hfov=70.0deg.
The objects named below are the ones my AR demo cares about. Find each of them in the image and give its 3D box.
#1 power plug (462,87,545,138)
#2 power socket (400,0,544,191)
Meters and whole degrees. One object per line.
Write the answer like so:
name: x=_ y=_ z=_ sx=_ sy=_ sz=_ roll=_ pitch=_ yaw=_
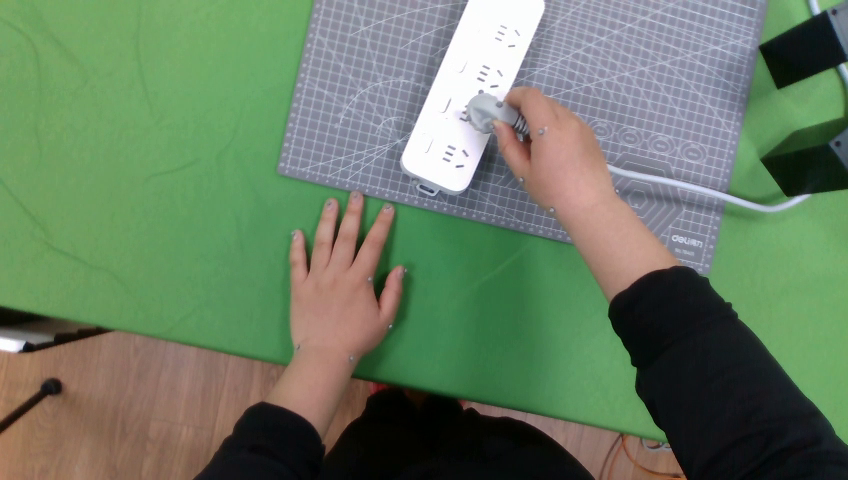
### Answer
power plug: x=0.067 y=-0.108 z=0.553 sx=0.073 sy=0.052 sz=0.035 roll=46 pitch=74 yaw=-18
power socket: x=0.046 y=-0.155 z=0.589 sx=0.072 sy=0.032 sz=0.226 roll=23 pitch=89 yaw=-5
